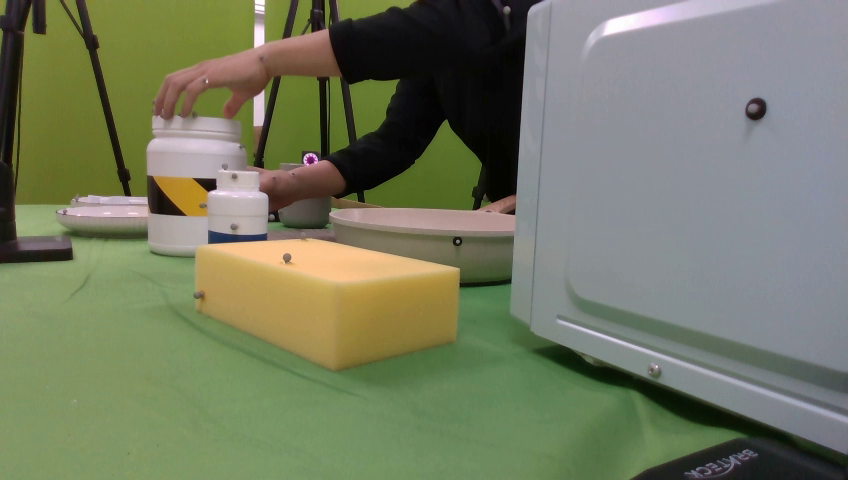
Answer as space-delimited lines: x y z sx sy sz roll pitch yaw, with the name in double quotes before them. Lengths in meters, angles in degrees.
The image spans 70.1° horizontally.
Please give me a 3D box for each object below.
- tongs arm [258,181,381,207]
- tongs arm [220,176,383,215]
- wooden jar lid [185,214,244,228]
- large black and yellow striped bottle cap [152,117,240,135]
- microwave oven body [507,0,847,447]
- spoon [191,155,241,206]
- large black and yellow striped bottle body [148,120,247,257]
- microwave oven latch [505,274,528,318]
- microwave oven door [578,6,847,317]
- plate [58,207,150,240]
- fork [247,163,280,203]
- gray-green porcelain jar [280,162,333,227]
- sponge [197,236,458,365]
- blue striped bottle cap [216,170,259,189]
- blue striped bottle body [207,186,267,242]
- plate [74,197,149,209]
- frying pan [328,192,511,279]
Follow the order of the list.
"tongs arm" -0.241 -0.095 1.373 0.387 0.026 0.050 9 0 -37
"tongs arm" -0.285 -0.104 1.445 0.389 0.027 0.028 9 -4 -23
"wooden jar lid" -0.404 -0.037 1.169 0.108 0.020 0.108 3 7 0
"large black and yellow striped bottle cap" -0.316 -0.158 0.843 0.115 0.019 0.115 3 7 0
"microwave oven body" 0.331 -0.042 0.425 0.444 0.260 0.324 -2 8 -31
"spoon" -0.489 -0.136 1.418 0.041 0.021 0.194 2 -35 19
"large black and yellow striped bottle body" -0.317 -0.075 0.853 0.131 0.184 0.130 2 7 0
"microwave oven latch" 0.100 0.041 0.473 0.079 0.029 0.030 -2 8 -31
"microwave oven door" 0.294 -0.067 0.570 0.358 0.243 0.039 -3 9 -31
"plate" -0.496 -0.030 1.022 0.209 0.038 0.209 2 8 0
"fork" -0.398 -0.144 1.489 0.028 0.018 0.208 21 -24 47
"gray-green porcelain jar" -0.238 -0.092 1.221 0.106 0.126 0.106 2 7 0
"sponge" -0.087 0.039 0.500 0.206 0.061 0.119 8 10 44
"blue striped bottle cap" -0.201 -0.066 0.654 0.044 0.020 0.044 0 6 0
"blue striped bottle body" -0.204 -0.015 0.661 0.063 0.120 0.063 2 7 0
"plate" -0.596 -0.062 1.238 0.208 0.039 0.207 2 8 0
"frying pan" 0.071 -0.030 0.883 0.305 0.102 0.490 7 17 28
